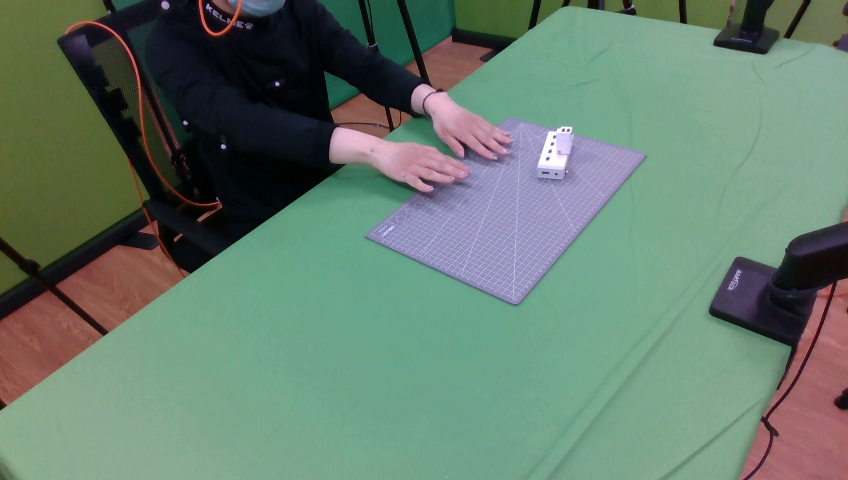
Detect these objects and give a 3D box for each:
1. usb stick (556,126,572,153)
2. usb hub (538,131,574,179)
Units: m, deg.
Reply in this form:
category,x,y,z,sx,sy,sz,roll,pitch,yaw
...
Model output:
category,x,y,z,sx,sy,sz,roll,pitch,yaw
usb stick,0.251,-0.174,1.083,0.027,0.059,0.021,8,44,15
usb hub,0.243,-0.158,1.111,0.049,0.025,0.125,8,43,17
